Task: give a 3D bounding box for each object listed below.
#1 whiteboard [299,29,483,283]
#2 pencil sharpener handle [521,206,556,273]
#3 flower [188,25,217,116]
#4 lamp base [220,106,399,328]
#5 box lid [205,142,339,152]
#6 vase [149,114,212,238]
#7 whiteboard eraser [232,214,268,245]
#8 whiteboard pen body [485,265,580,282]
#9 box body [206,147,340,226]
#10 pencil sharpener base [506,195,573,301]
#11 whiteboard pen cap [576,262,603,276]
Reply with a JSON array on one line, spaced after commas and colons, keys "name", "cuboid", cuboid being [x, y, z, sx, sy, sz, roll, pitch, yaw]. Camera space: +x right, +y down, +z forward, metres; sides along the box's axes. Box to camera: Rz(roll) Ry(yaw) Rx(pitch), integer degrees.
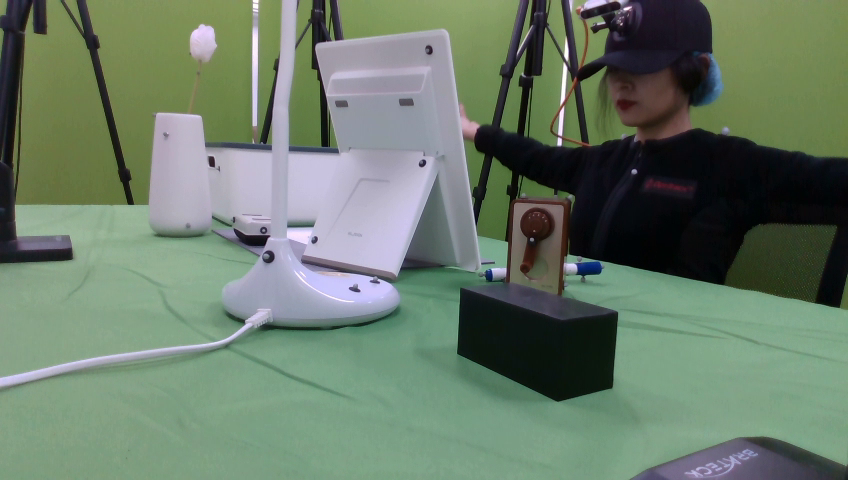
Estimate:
[{"name": "whiteboard", "cuboid": [-0.074, -0.082, 0.742, 0.216, 0.305, 0.144, 9, 29, 38]}, {"name": "pencil sharpener handle", "cuboid": [0.111, 0.000, 0.613, 0.036, 0.067, 0.031, 12, 10, 14]}, {"name": "flower", "cuboid": [-0.394, -0.189, 1.011, 0.044, 0.361, 0.038, -1, -13, 27]}, {"name": "lamp base", "cuboid": [-0.102, -0.023, 0.531, 0.160, 0.180, 0.179, 4, 10, 10]}, {"name": "box lid", "cuboid": [-0.270, -0.196, 1.311, 0.373, 0.015, 0.262, -2, 9, -30]}, {"name": "vase", "cuboid": [-0.405, -0.106, 1.005, 0.098, 0.200, 0.098, 2, 6, 0]}, {"name": "whiteboard eraser", "cuboid": [-0.265, -0.018, 0.954, 0.056, 0.042, 0.112, -4, 10, -28]}, {"name": "whiteboard pen body", "cuboid": [0.144, 0.040, 0.738, 0.141, 0.017, 0.017, -2, 8, -10]}, {"name": "box body", "cuboid": [-0.276, -0.122, 1.320, 0.366, 0.160, 0.253, -2, 9, -30]}, {"name": "pencil sharpener base", "cuboid": [0.127, 0.007, 0.663, 0.061, 0.107, 0.077, 5, 8, 15]}, {"name": "whiteboard pen cap", "cuboid": [0.203, 0.036, 0.749, 0.033, 0.018, 0.018, -2, 8, -7]}]
